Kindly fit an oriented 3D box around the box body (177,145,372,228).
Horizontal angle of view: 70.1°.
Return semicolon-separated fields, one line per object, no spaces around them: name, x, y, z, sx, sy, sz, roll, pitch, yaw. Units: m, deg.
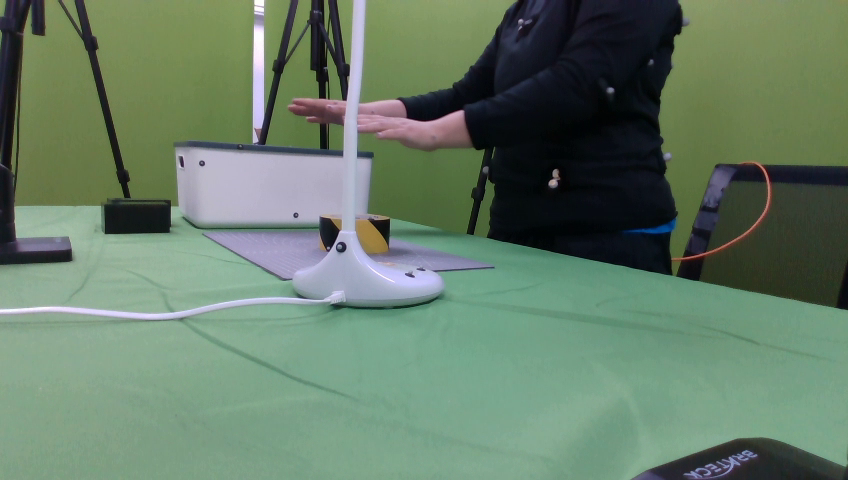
box body;-0.319;-0.118;1.280;0.366;0.160;0.253;-1;8;-29

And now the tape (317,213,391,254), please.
tape;-0.109;-0.012;0.938;0.117;0.052;0.117;2;7;0

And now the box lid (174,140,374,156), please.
box lid;-0.318;-0.190;1.270;0.373;0.015;0.262;-1;8;-29

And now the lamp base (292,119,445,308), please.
lamp base;-0.056;-0.030;0.616;0.160;0.180;0.179;4;10;8
